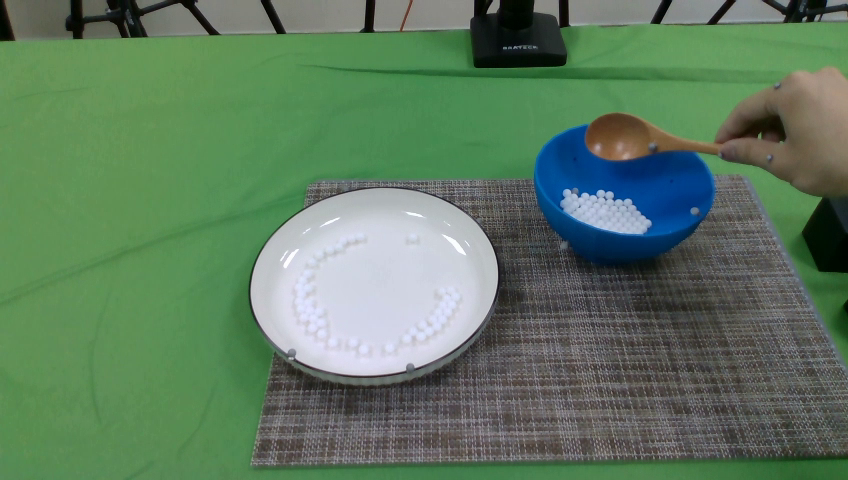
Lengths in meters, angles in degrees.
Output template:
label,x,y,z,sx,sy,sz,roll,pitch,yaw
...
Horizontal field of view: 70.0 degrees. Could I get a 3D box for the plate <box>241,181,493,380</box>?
label,x,y,z,sx,sy,sz,roll,pitch,yaw
plate,-0.046,0.032,0.516,0.208,0.039,0.205,0,47,1

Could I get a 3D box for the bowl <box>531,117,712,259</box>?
label,x,y,z,sx,sy,sz,roll,pitch,yaw
bowl,0.167,-0.035,0.545,0.151,0.077,0.150,0,47,1

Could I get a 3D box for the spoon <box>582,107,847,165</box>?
label,x,y,z,sx,sy,sz,roll,pitch,yaw
spoon,0.221,-0.076,0.480,0.192,0.042,0.022,15,22,32
